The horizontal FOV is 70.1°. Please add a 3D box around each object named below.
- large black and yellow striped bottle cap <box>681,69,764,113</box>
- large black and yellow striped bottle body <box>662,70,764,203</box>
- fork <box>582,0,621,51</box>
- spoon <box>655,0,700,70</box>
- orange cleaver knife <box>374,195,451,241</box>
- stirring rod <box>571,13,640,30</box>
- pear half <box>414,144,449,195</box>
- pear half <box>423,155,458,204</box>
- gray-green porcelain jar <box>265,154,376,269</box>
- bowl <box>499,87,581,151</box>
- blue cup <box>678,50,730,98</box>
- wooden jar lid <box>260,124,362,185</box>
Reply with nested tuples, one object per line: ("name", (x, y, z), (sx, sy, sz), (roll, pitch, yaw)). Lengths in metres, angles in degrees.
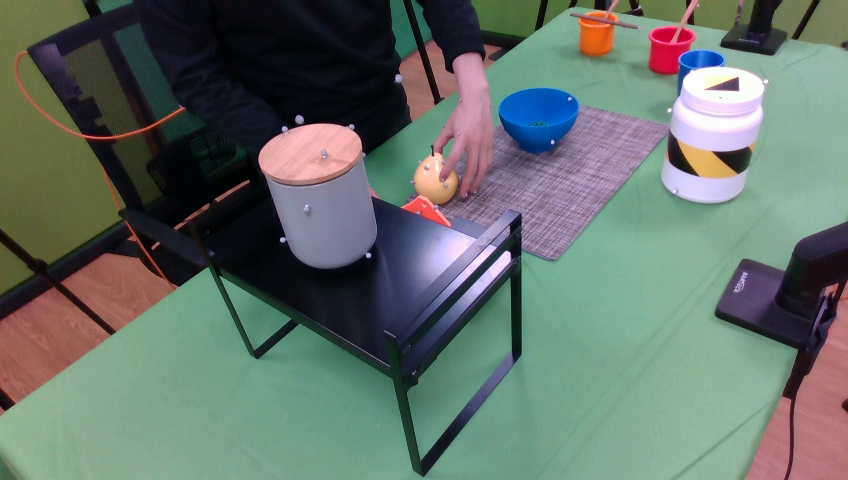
("large black and yellow striped bottle cap", (0.453, -0.229, 0.921), (0.115, 0.019, 0.114), (-4, 39, 4))
("large black and yellow striped bottle body", (0.464, -0.166, 0.976), (0.131, 0.185, 0.130), (-5, 41, 5))
("fork", (0.446, -0.539, 1.438), (0.207, 0.019, 0.028), (-57, 35, 12))
("spoon", (0.568, -0.463, 1.337), (0.041, 0.022, 0.193), (30, 97, 37))
("orange cleaver knife", (-0.037, -0.029, 0.973), (0.210, 0.077, 0.012), (-8, 33, 50))
("stirring rod", (0.419, -0.508, 1.404), (0.174, 0.006, 0.014), (28, 55, 35))
("pear half", (0.013, -0.123, 1.047), (0.077, 0.110, 0.055), (-28, 45, -32))
("pear half", (0.035, -0.100, 1.030), (0.071, 0.088, 0.031), (-28, 43, -32))
("gray-green porcelain jar", (-0.112, -0.039, 0.685), (0.106, 0.127, 0.105), (-4, 40, 4))
("bowl", (0.221, -0.223, 1.156), (0.151, 0.077, 0.150), (-4, 40, 4))
("blue cup", (0.542, -0.310, 1.194), (0.092, 0.101, 0.092), (-6, 41, 6))
("wooden jar lid", (-0.119, -0.088, 0.644), (0.108, 0.021, 0.108), (-4, 40, 3))
